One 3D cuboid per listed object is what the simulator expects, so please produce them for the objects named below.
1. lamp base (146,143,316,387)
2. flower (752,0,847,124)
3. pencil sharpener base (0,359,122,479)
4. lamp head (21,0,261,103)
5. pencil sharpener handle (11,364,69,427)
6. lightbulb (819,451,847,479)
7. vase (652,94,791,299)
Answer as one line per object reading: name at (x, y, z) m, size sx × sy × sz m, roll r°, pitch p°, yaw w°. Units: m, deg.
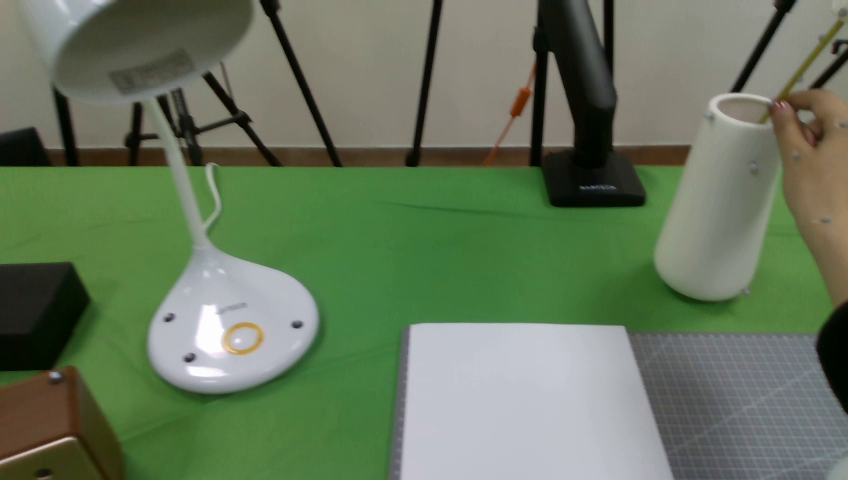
lamp base at (-0.196, 0.013, 0.556) m, size 0.161 × 0.182 × 0.177 m, roll -25°, pitch 41°, yaw -28°
flower at (0.285, -0.095, 0.523) m, size 0.038 × 0.364 × 0.043 m, roll -22°, pitch 66°, yaw -16°
pencil sharpener base at (-0.267, 0.151, 0.439) m, size 0.061 × 0.108 × 0.076 m, roll -17°, pitch 40°, yaw -19°
lamp head at (-0.165, -0.150, 0.322) m, size 0.112 × 0.112 × 0.122 m, roll -30°, pitch 84°, yaw -32°
pencil sharpener handle at (-0.291, 0.114, 0.467) m, size 0.036 × 0.068 × 0.030 m, roll -13°, pitch 39°, yaw -23°
lightbulb at (0.309, 0.197, 0.410) m, size 0.059 × 0.060 × 0.106 m, roll 4°, pitch 53°, yaw 6°
vase at (0.290, -0.038, 0.598) m, size 0.098 × 0.202 × 0.097 m, roll -1°, pitch 37°, yaw 1°
